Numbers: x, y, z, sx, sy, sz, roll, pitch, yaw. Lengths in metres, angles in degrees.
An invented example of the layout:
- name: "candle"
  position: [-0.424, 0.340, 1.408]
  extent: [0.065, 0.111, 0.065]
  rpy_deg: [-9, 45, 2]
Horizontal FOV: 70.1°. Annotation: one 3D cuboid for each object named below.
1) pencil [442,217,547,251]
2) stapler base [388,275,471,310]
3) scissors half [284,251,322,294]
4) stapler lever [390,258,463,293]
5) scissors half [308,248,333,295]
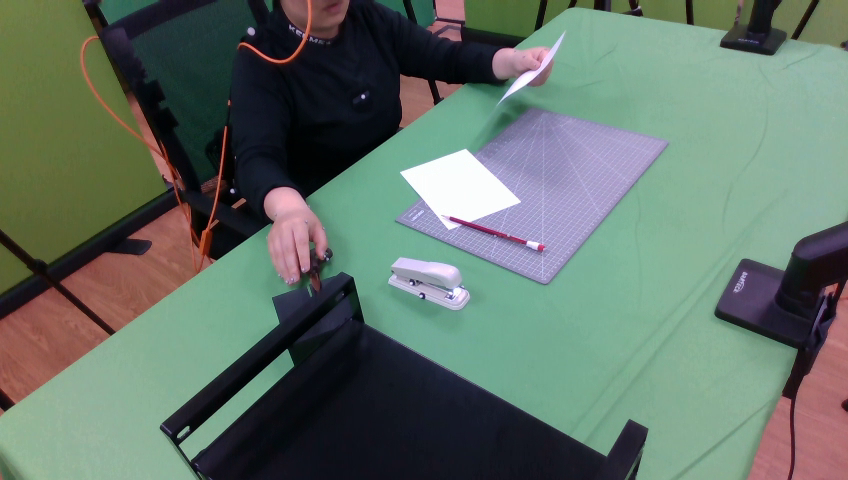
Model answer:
- name: "pencil"
  position: [0.110, -0.012, 0.979]
  extent: [0.192, 0.012, 0.012]
  rpy_deg: [18, 46, 30]
- name: "stapler base"
  position: [0.007, 0.066, 0.897]
  extent: [0.129, 0.024, 0.041]
  rpy_deg: [17, 43, 29]
- name: "scissors half"
  position: [-0.178, 0.049, 0.909]
  extent: [0.040, 0.013, 0.173]
  rpy_deg: [-17, 23, -21]
- name: "stapler lever"
  position: [0.002, 0.046, 0.881]
  extent: [0.117, 0.040, 0.027]
  rpy_deg: [17, 44, 29]
- name: "scissors half"
  position: [-0.158, 0.046, 0.914]
  extent: [0.040, 0.013, 0.174]
  rpy_deg: [-5, 20, -6]
